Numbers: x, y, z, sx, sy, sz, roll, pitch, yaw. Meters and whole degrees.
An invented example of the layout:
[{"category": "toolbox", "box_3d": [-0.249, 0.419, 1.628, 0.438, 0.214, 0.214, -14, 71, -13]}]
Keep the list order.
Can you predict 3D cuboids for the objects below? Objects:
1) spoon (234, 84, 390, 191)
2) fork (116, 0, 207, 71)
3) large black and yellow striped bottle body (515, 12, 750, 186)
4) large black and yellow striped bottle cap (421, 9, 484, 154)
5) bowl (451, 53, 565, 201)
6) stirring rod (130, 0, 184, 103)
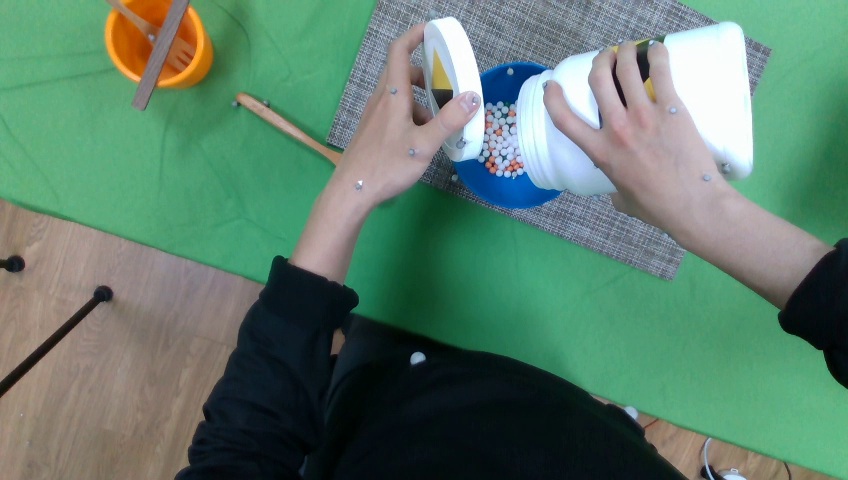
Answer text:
[{"category": "spoon", "box_3d": [-0.122, -0.116, 0.664, 0.194, 0.021, 0.042, 32, 107, -11]}, {"category": "fork", "box_3d": [-0.288, -0.228, 0.563, 0.028, 0.018, 0.209, -47, 144, 3]}, {"category": "large black and yellow striped bottle body", "box_3d": [0.186, -0.117, 0.543, 0.183, 0.131, 0.131, -3, 100, 30]}, {"category": "large black and yellow striped bottle cap", "box_3d": [0.021, -0.129, 0.499, 0.019, 0.114, 0.115, -13, 99, -12]}, {"category": "bowl", "box_3d": [0.093, -0.120, 0.659, 0.151, 0.076, 0.151, -1, 99, -6]}, {"category": "stirring rod", "box_3d": [-0.238, -0.212, 0.568, 0.014, 0.006, 0.176, 23, 95, -11]}]
